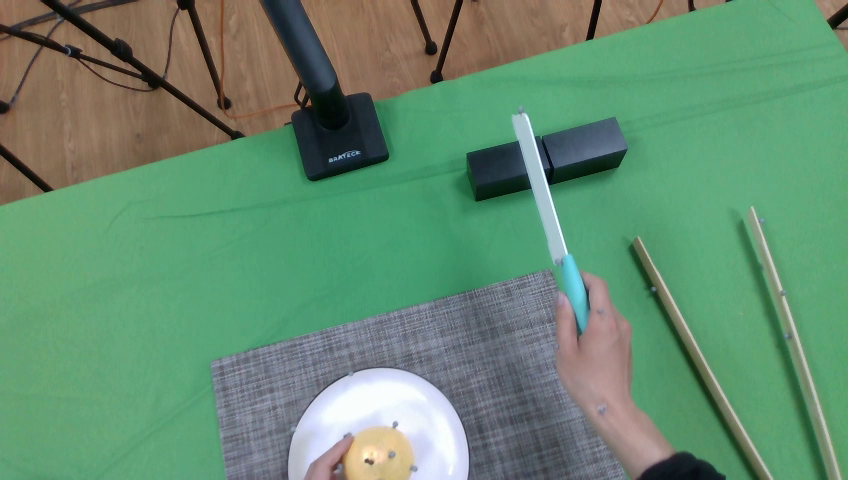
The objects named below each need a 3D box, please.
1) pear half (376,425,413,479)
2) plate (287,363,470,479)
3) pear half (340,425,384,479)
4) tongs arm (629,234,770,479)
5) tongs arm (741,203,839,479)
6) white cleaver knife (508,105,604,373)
[{"bbox_3d":[-0.030,0.237,0.663,0.031,0.088,0.070,-11,66,1],"label":"pear half"},{"bbox_3d":[-0.051,0.248,0.698,0.207,0.039,0.206,-1,70,3],"label":"plate"},{"bbox_3d":[-0.066,0.239,0.655,0.056,0.110,0.075,-10,64,0],"label":"pear half"},{"bbox_3d":[0.342,0.160,0.719,0.028,0.028,0.384,-22,70,-6],"label":"tongs arm"},{"bbox_3d":[0.421,0.138,0.716,0.051,0.027,0.382,-10,71,2],"label":"tongs arm"},{"bbox_3d":[0.136,0.001,0.625,0.021,0.066,0.286,-16,94,-2],"label":"white cleaver knife"}]
